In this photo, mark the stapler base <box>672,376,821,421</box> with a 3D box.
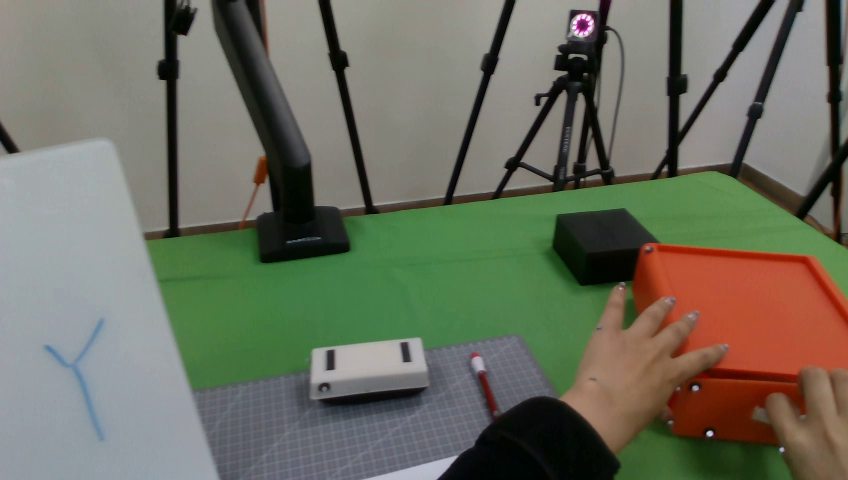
[{"bbox_3d":[0.314,0.147,0.592,0.130,0.024,0.041,8,17,11],"label":"stapler base"}]

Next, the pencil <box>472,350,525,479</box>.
[{"bbox_3d":[0.071,0.170,0.559,0.012,0.012,0.192,-4,33,-9],"label":"pencil"}]

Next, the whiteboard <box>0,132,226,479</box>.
[{"bbox_3d":[-0.300,0.096,0.439,0.218,0.307,0.143,-20,18,-30],"label":"whiteboard"}]

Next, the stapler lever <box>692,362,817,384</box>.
[{"bbox_3d":[0.317,0.122,0.585,0.118,0.040,0.027,9,18,10],"label":"stapler lever"}]

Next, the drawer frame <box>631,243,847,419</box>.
[{"bbox_3d":[0.336,0.094,0.627,0.201,0.083,0.212,4,30,5],"label":"drawer frame"}]

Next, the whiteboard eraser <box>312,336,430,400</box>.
[{"bbox_3d":[-0.053,0.126,0.593,0.113,0.042,0.055,-4,32,-8],"label":"whiteboard eraser"}]

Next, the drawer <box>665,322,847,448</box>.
[{"bbox_3d":[0.335,0.104,0.616,0.194,0.074,0.210,4,30,6],"label":"drawer"}]
